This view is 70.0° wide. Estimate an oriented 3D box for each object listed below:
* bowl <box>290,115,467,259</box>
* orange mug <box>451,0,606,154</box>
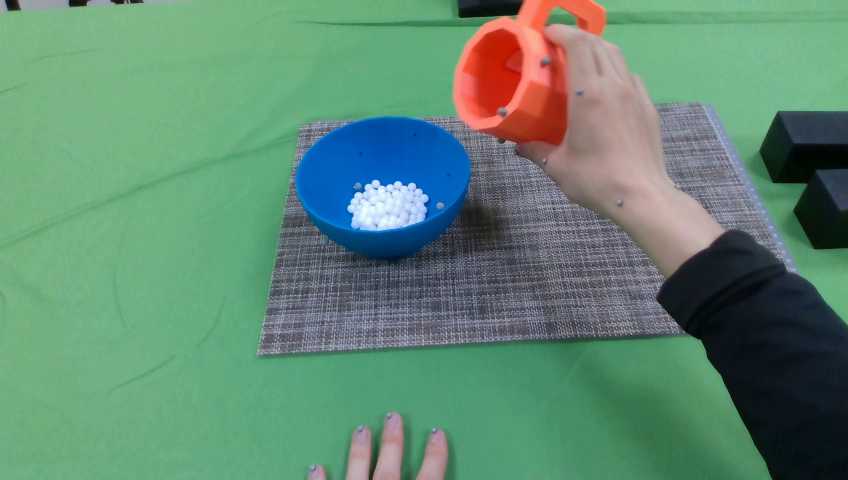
[{"bbox_3d":[-0.036,-0.036,0.543,0.151,0.077,0.150,-2,48,2],"label":"bowl"},{"bbox_3d":[0.092,-0.138,0.490,0.101,0.126,0.082,5,29,-38],"label":"orange mug"}]
